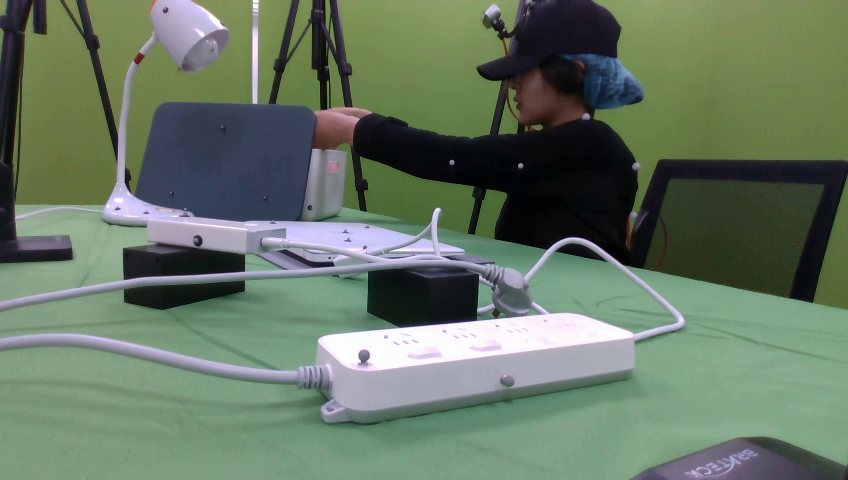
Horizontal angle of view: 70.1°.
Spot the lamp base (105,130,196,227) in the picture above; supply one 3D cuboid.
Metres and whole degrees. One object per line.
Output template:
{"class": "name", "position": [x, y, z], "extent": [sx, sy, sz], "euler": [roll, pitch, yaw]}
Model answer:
{"class": "lamp base", "position": [-0.532, -0.120, 1.153], "extent": [0.179, 0.180, 0.161], "euler": [1, 7, 8]}

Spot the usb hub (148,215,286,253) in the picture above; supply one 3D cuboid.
{"class": "usb hub", "position": [-0.197, -0.006, 0.575], "extent": [0.125, 0.025, 0.050], "euler": [6, 6, 22]}

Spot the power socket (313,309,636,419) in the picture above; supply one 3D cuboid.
{"class": "power socket", "position": [0.039, 0.072, 0.384], "extent": [0.228, 0.032, 0.072], "euler": [-2, 7, -28]}

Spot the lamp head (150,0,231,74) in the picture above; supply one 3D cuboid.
{"class": "lamp head", "position": [-0.432, -0.374, 1.086], "extent": [0.123, 0.112, 0.112], "euler": [42, 8, -2]}

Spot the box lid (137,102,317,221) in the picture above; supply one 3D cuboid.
{"class": "box lid", "position": [-0.411, -0.162, 1.262], "extent": [0.371, 0.263, 0.015], "euler": [3, -13, 10]}

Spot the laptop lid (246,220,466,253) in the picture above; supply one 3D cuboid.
{"class": "laptop lid", "position": [-0.123, -0.009, 0.945], "extent": [0.243, 0.013, 0.355], "euler": [1, 7, -29]}

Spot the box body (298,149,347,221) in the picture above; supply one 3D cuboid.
{"class": "box body", "position": [-0.384, -0.137, 1.407], "extent": [0.364, 0.160, 0.254], "euler": [3, 8, 8]}

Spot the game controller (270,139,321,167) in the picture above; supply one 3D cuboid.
{"class": "game controller", "position": [-0.295, -0.205, 1.394], "extent": [0.097, 0.051, 0.155], "euler": [2, 14, -2]}

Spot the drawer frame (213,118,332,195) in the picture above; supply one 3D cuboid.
{"class": "drawer frame", "position": [-0.340, -0.196, 1.391], "extent": [0.213, 0.083, 0.201], "euler": [-27, 10, 9]}

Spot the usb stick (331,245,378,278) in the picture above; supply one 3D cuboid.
{"class": "usb stick", "position": [-0.085, 0.026, 0.701], "extent": [0.059, 0.027, 0.021], "euler": [-18, 19, 27]}

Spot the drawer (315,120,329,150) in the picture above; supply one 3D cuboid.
{"class": "drawer", "position": [-0.339, -0.197, 1.391], "extent": [0.211, 0.073, 0.194], "euler": [-25, 11, 9]}

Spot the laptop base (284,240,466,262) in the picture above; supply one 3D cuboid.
{"class": "laptop base", "position": [-0.125, 0.002, 0.946], "extent": [0.237, 0.023, 0.352], "euler": [2, 6, -31]}

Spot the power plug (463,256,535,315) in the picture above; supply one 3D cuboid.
{"class": "power plug", "position": [0.064, 0.039, 0.530], "extent": [0.072, 0.052, 0.035], "euler": [31, 43, 7]}
